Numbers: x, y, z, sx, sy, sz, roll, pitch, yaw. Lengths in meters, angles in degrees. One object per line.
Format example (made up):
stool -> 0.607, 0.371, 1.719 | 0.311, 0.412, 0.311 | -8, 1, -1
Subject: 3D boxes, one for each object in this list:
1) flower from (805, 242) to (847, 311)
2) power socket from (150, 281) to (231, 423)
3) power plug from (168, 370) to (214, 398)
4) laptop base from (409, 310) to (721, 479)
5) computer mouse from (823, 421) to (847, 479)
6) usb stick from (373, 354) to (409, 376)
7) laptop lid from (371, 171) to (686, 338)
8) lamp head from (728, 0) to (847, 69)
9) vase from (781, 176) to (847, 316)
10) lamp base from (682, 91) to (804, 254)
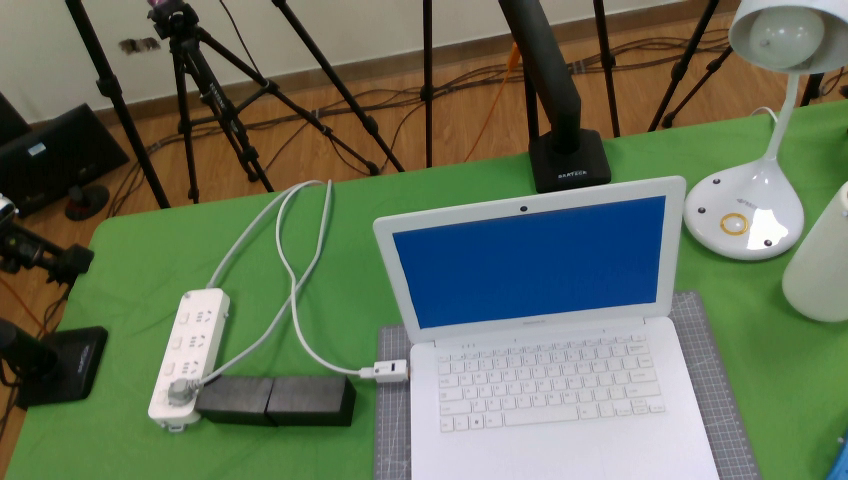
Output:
flower -> 0.497, -0.050, 0.657 | 0.038, 0.365, 0.043 | -9, 41, -14
power socket -> -0.345, 0.158, 0.904 | 0.072, 0.033, 0.224 | -5, 53, 8
power plug -> -0.320, 0.203, 0.840 | 0.072, 0.053, 0.035 | 4, 55, 13
laptop base -> 0.156, 0.211, 0.760 | 0.354, 0.023, 0.233 | -8, 56, 7
computer mouse -> 0.489, 0.229, 0.658 | 0.062, 0.041, 0.117 | 29, 61, 33
usb stick -> -0.037, 0.169, 0.819 | 0.059, 0.027, 0.021 | -3, 51, 5
laptop lid -> 0.131, 0.031, 0.749 | 0.356, 0.244, 0.013 | -9, 42, 8
lamp head -> 0.359, -0.236, 0.563 | 0.111, 0.113, 0.122 | 19, 78, 25
vase -> 0.497, 0.008, 0.719 | 0.098, 0.202, 0.097 | -7, 52, 10
lamp base -> 0.451, -0.101, 0.822 | 0.159, 0.182, 0.178 | 22, 59, 26
